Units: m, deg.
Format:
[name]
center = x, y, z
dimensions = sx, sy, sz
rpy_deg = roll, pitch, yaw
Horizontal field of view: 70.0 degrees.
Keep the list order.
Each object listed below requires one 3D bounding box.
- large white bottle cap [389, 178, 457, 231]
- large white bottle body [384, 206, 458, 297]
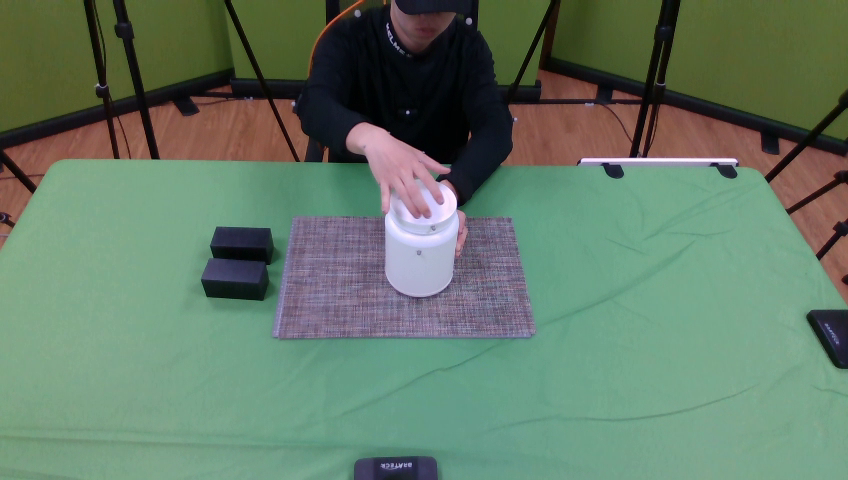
[large white bottle cap]
center = -0.002, -0.061, 1.021
dimensions = 0.115, 0.018, 0.114
rpy_deg = 2, 47, -2
[large white bottle body]
center = -0.006, -0.002, 1.081
dimensions = 0.131, 0.185, 0.130
rpy_deg = 2, 46, -2
